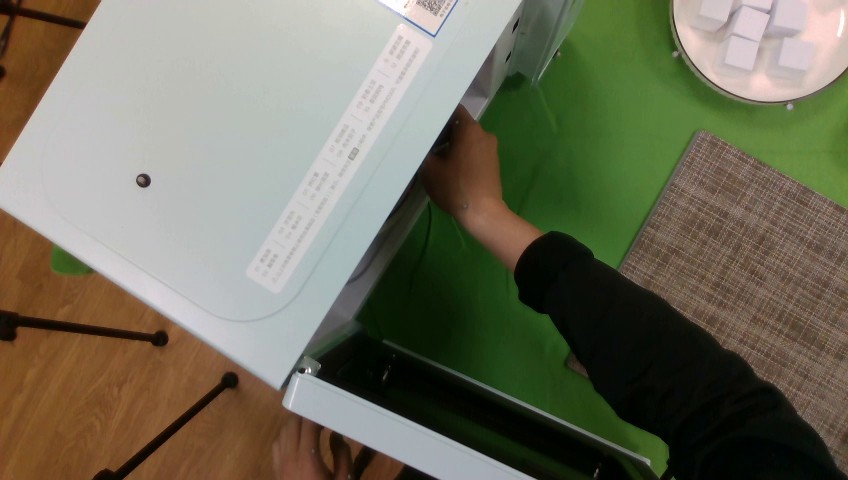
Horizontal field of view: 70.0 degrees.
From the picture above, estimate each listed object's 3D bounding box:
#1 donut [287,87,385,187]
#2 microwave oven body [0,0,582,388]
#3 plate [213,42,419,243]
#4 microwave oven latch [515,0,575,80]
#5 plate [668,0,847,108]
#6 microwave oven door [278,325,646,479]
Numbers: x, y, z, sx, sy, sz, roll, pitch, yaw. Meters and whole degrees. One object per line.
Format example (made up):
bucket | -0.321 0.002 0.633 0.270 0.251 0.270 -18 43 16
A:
donut | -0.088 -0.102 0.606 0.099 0.048 0.099 1 95 7
microwave oven body | -0.097 -0.145 0.564 0.326 0.260 0.441 33 92 3
plate | -0.108 -0.098 0.626 0.209 0.038 0.208 0 84 0
microwave oven latch | 0.129 -0.214 0.649 0.030 0.029 0.079 35 92 3
plate | 0.367 -0.244 0.656 0.207 0.039 0.207 0 89 3
microwave oven door | 0.065 0.180 0.548 0.355 0.244 0.039 24 90 3
